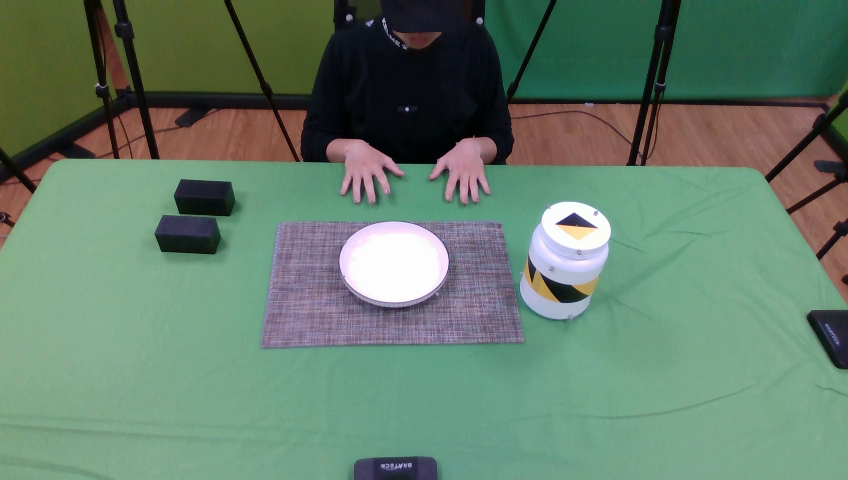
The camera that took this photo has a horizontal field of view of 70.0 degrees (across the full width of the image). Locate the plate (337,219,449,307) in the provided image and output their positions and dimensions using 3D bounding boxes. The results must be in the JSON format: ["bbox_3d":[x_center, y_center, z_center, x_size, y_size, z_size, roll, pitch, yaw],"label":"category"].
[{"bbox_3d":[-0.057,0.045,1.133,0.208,0.039,0.206,2,46,-2],"label":"plate"}]

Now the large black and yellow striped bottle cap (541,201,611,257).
[{"bbox_3d":[0.252,-0.021,1.004,0.115,0.019,0.114,1,47,-1],"label":"large black and yellow striped bottle cap"}]

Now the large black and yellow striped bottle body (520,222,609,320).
[{"bbox_3d":[0.247,0.038,1.065,0.131,0.185,0.130,2,46,-2],"label":"large black and yellow striped bottle body"}]
